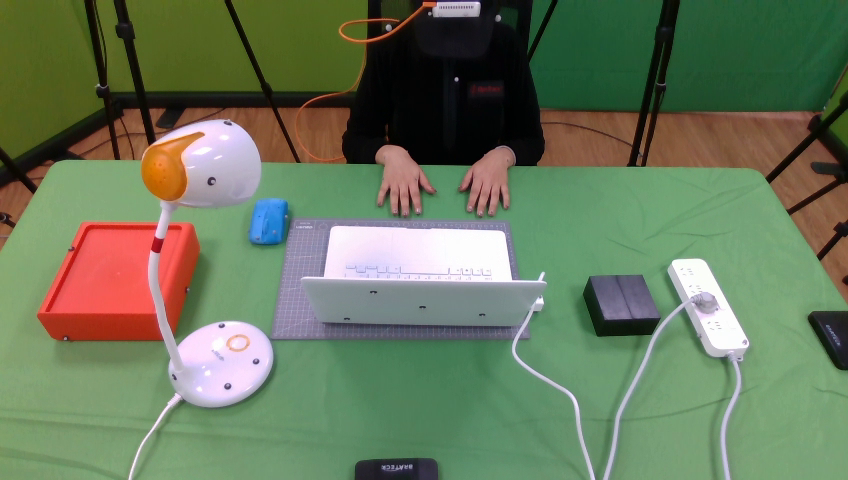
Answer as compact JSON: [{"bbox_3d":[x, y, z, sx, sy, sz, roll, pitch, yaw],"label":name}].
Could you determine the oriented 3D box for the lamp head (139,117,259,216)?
[{"bbox_3d":[-0.281,-0.086,0.734,0.112,0.113,0.123,21,25,16],"label":"lamp head"}]

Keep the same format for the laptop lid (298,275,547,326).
[{"bbox_3d":[-0.004,0.099,0.947,0.357,0.242,0.013,2,67,-4],"label":"laptop lid"}]

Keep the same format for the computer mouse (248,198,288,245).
[{"bbox_3d":[-0.309,-0.041,1.205,0.063,0.041,0.116,3,49,-3],"label":"computer mouse"}]

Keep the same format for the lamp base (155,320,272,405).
[{"bbox_3d":[-0.330,0.149,0.918,0.160,0.181,0.179,26,52,20],"label":"lamp base"}]

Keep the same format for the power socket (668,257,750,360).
[{"bbox_3d":[0.517,0.117,1.110,0.072,0.033,0.225,-3,47,-4],"label":"power socket"}]

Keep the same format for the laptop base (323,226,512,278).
[{"bbox_3d":[-0.010,0.063,1.137,0.354,0.023,0.234,1,42,-2],"label":"laptop base"}]

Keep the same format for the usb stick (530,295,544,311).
[{"bbox_3d":[0.183,0.111,1.086,0.059,0.027,0.021,0,47,-4],"label":"usb stick"}]

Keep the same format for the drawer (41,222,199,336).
[{"bbox_3d":[-0.519,0.064,1.058,0.195,0.073,0.210,1,46,-4],"label":"drawer"}]

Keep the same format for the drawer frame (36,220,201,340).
[{"bbox_3d":[-0.518,0.065,1.055,0.202,0.083,0.212,0,47,-5],"label":"drawer frame"}]

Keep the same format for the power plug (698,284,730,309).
[{"bbox_3d":[0.509,0.096,1.060,0.052,0.073,0.035,-22,61,10],"label":"power plug"}]
